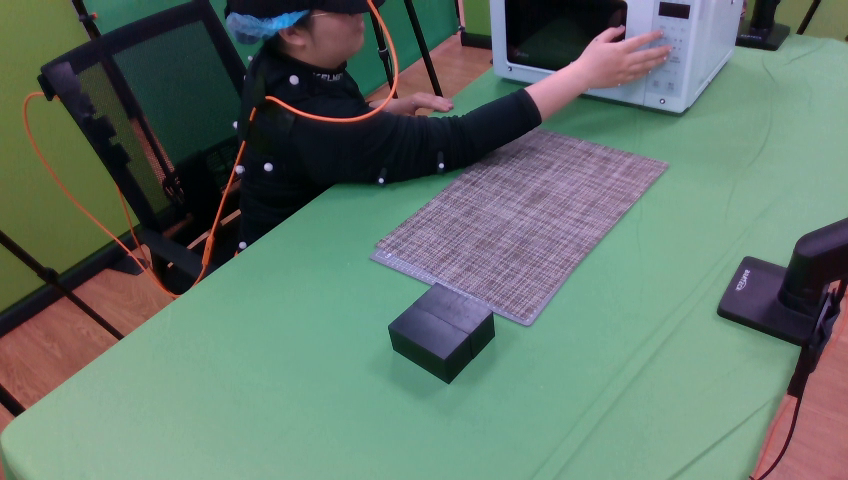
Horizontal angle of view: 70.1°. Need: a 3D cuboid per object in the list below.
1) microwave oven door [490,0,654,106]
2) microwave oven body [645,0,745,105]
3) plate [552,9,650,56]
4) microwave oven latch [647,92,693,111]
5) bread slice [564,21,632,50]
[{"bbox_3d":[0.293,-0.420,1.228,0.353,0.245,0.039,22,49,32],"label":"microwave oven door"},{"bbox_3d":[0.416,-0.486,1.290,0.438,0.261,0.327,21,50,33],"label":"microwave oven body"},{"bbox_3d":[0.390,-0.456,1.339,0.209,0.038,0.208,-6,39,5],"label":"plate"},{"bbox_3d":[0.477,-0.273,1.177,0.078,0.029,0.030,23,51,34],"label":"microwave oven latch"},{"bbox_3d":[0.394,-0.455,1.344,0.105,0.019,0.130,-35,43,-26],"label":"bread slice"}]
